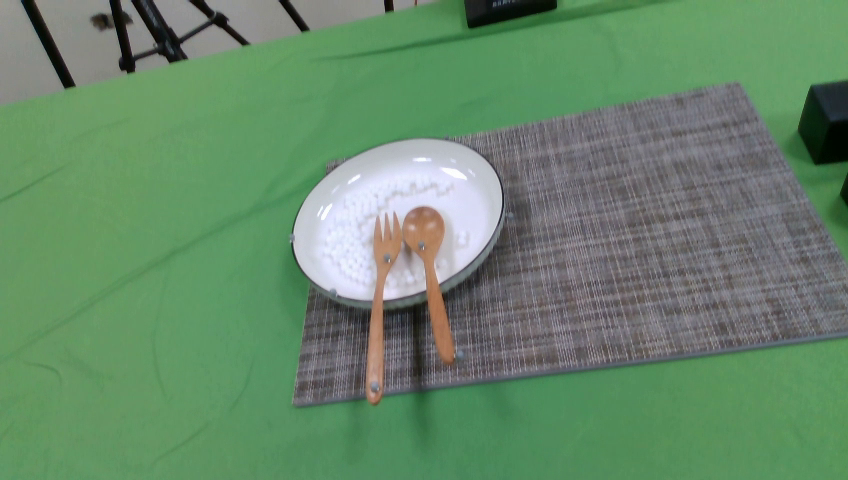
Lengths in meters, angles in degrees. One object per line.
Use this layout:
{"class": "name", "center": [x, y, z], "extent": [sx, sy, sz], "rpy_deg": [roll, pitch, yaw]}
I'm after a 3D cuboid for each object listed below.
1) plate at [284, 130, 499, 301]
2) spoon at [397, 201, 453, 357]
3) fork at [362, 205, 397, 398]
{"class": "plate", "center": [-0.029, -0.024, 0.582], "extent": [0.207, 0.039, 0.205], "rpy_deg": [-8, 49, 10]}
{"class": "spoon", "center": [0.002, 0.025, 0.511], "extent": [0.041, 0.022, 0.191], "rpy_deg": [-12, 35, 1]}
{"class": "fork", "center": [-0.039, 0.042, 0.511], "extent": [0.028, 0.019, 0.205], "rpy_deg": [-7, 41, 6]}
